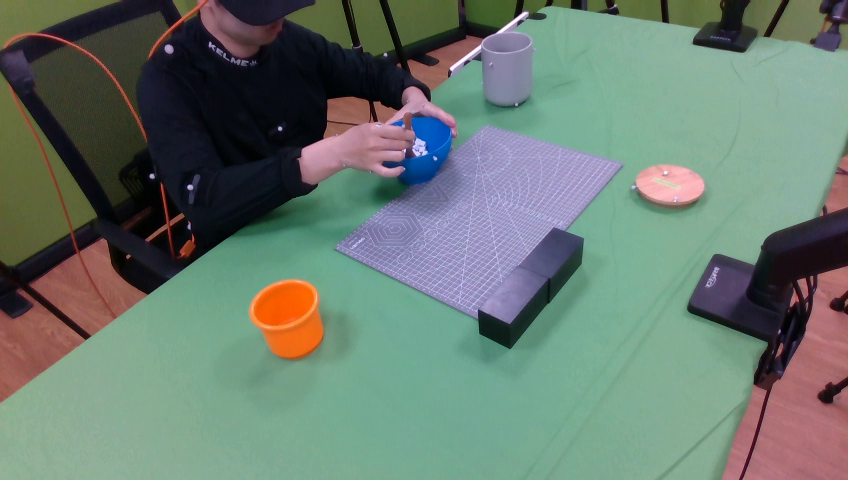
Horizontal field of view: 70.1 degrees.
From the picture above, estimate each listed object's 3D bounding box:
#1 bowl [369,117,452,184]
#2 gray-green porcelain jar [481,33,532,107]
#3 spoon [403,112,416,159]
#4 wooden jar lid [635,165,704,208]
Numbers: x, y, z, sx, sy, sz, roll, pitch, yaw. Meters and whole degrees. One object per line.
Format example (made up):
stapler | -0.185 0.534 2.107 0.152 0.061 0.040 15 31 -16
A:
bowl | -0.019 -0.155 1.106 0.151 0.077 0.150 -6 39 6
gray-green porcelain jar | 0.175 -0.355 1.278 0.106 0.127 0.105 -4 41 4
spoon | -0.027 -0.161 1.018 0.042 0.194 0.021 -8 66 -2
wooden jar lid | 0.410 -0.089 1.014 0.108 0.021 0.108 -5 42 5
